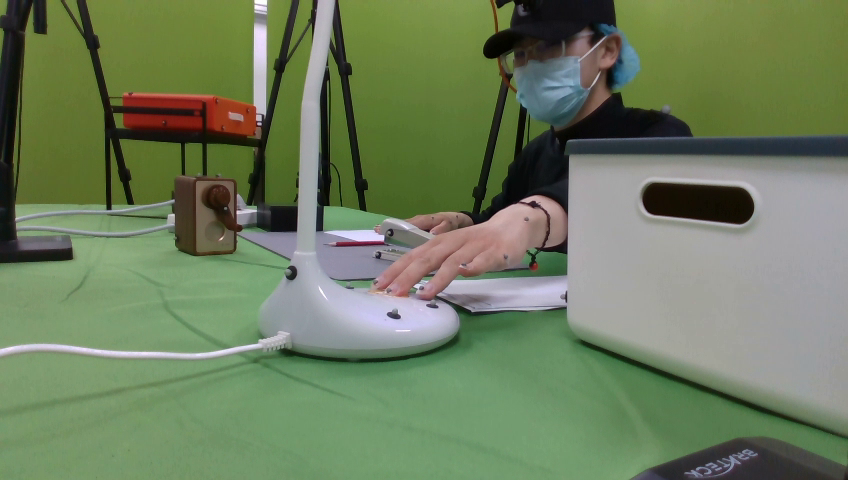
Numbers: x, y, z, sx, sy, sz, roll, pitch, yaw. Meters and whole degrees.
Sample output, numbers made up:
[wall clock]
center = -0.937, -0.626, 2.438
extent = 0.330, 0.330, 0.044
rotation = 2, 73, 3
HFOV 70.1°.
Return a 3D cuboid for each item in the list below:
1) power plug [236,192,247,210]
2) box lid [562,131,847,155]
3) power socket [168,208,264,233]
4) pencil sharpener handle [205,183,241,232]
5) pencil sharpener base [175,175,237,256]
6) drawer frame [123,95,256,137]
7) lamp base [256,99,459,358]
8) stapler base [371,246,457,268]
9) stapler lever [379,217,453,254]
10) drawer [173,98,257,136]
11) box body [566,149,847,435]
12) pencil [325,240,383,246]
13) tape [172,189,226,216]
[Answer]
[power plug]
center = -0.387, -0.071, 1.204
extent = 0.072, 0.052, 0.035
rotation = 7, 8, 26
[box lid]
center = 0.322, -0.064, 0.463
extent = 0.373, 0.015, 0.262
rotation = -2, 9, -31
[power socket]
center = -0.381, -0.038, 1.128
extent = 0.072, 0.032, 0.227
rotation = 4, 8, 17
[pencil sharpener handle]
center = -0.265, -0.043, 0.812
extent = 0.036, 0.068, 0.030
rotation = -31, 27, -35
[pencil sharpener base]
center = -0.305, -0.035, 0.847
extent = 0.062, 0.107, 0.076
rotation = -4, 10, -42
[drawer frame]
center = -0.524, -0.280, 1.376
extent = 0.213, 0.082, 0.202
rotation = 3, 8, 8
[lamp base]
center = -0.055, -0.013, 0.463
extent = 0.160, 0.180, 0.180
rotation = 6, 11, 27
[stapler base]
center = -0.017, 0.017, 0.831
extent = 0.130, 0.024, 0.041
rotation = 10, 12, 39
[stapler lever]
center = -0.014, -0.007, 0.827
extent = 0.117, 0.040, 0.027
rotation = 9, 11, 39
[drawer]
center = -0.518, -0.279, 1.376
extent = 0.211, 0.073, 0.195
rotation = 3, 8, 9
[box body]
center = 0.317, 0.009, 0.471
extent = 0.366, 0.160, 0.253
rotation = -2, 8, -31
[pencil]
center = -0.066, 0.003, 0.979
extent = 0.195, 0.012, 0.012
rotation = -2, 9, -25
[tape]
center = -0.515, -0.087, 1.388
extent = 0.117, 0.052, 0.117
rotation = 3, 8, 0
